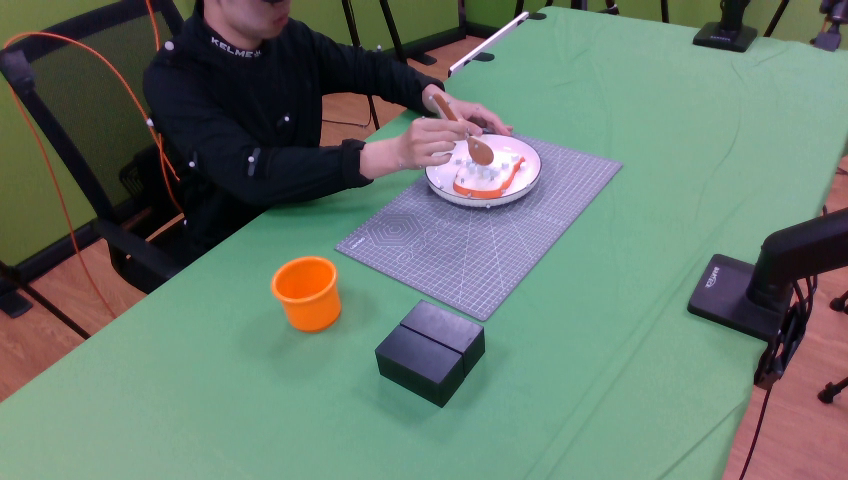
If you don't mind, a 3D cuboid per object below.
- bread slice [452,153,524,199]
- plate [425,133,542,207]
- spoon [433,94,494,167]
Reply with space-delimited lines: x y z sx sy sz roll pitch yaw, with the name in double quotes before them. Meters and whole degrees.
"bread slice" 0.112 -0.118 1.079 0.104 0.019 0.131 11 42 21
"plate" 0.106 -0.121 1.079 0.209 0.038 0.208 -4 41 4
"spoon" 0.065 -0.175 0.985 0.041 0.195 0.021 -11 62 26
